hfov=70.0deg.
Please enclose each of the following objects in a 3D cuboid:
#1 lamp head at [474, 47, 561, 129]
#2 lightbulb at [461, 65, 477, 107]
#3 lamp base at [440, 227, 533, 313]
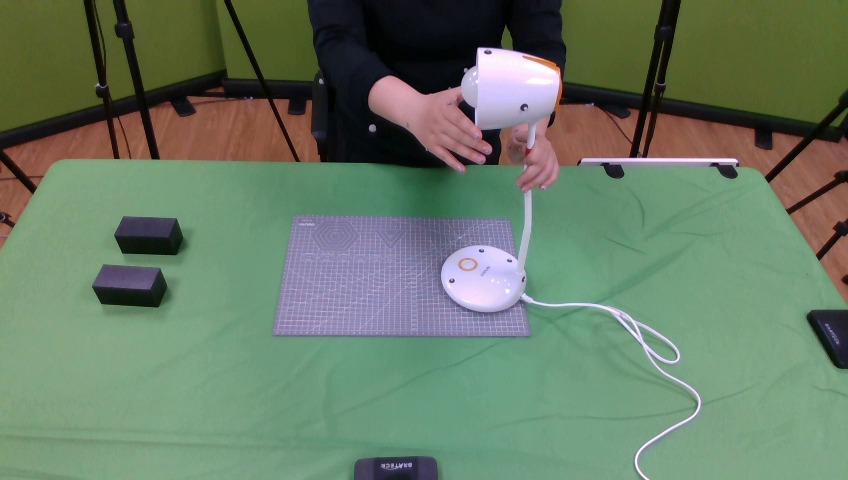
[{"bbox_3d":[0.128,-0.207,0.842,0.123,0.113,0.112,5,45,-1],"label":"lamp head"},{"bbox_3d":[0.106,-0.216,0.852,0.108,0.060,0.059,2,45,-3],"label":"lightbulb"},{"bbox_3d":[0.126,0.021,1.072,0.179,0.181,0.160,22,49,13],"label":"lamp base"}]
